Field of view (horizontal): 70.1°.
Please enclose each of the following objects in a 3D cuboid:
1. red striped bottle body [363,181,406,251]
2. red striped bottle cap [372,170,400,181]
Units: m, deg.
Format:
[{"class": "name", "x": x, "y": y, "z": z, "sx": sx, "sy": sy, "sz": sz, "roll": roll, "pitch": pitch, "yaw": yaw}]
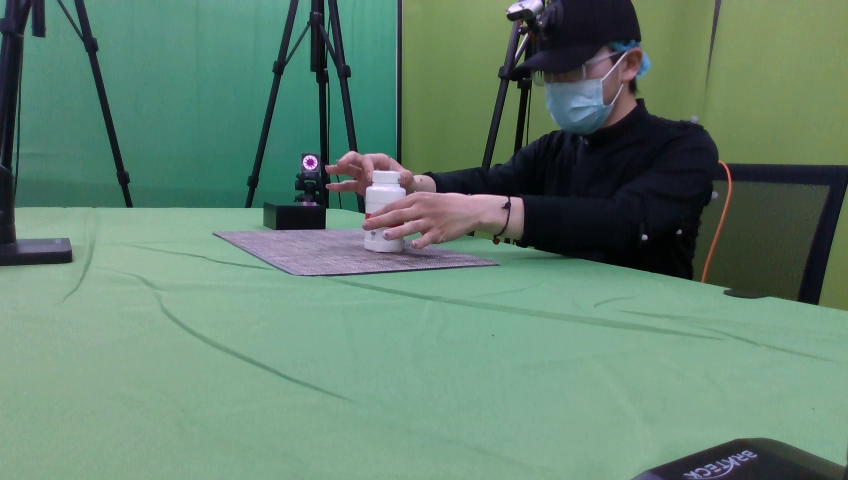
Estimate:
[{"class": "red striped bottle body", "x": -0.061, "y": -0.046, "z": 0.940, "sx": 0.063, "sy": 0.119, "sz": 0.063, "roll": 3, "pitch": 8, "yaw": 0}, {"class": "red striped bottle cap", "x": -0.059, "y": -0.100, "z": 0.932, "sx": 0.044, "sy": 0.017, "sz": 0.044, "roll": -1, "pitch": 7, "yaw": 0}]
